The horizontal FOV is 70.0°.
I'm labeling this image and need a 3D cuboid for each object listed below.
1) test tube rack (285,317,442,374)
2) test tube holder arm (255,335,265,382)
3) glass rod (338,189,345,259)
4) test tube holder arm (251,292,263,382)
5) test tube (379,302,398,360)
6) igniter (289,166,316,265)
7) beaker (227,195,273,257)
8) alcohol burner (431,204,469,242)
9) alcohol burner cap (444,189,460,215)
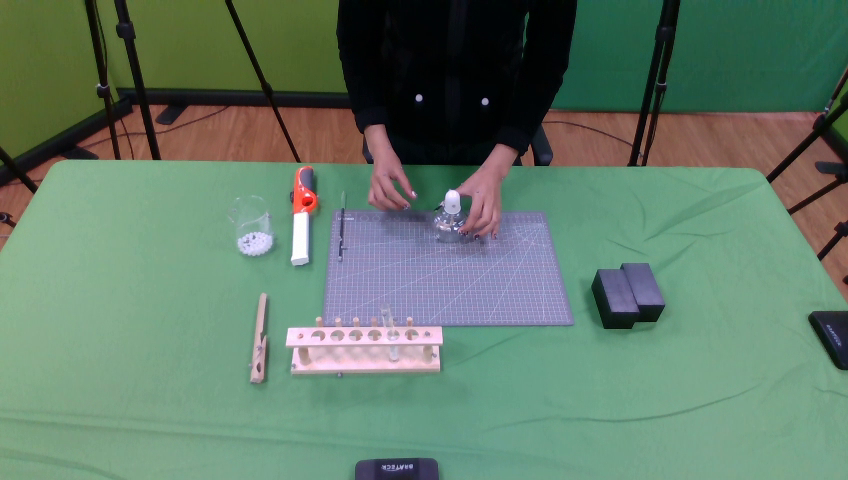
[{"bbox_3d":[-0.095,0.166,0.988,0.242,0.085,0.066,0,46,-4],"label":"test tube rack"},{"bbox_3d":[-0.270,0.193,0.997,0.010,0.015,0.087,24,36,-33],"label":"test tube holder arm"},{"bbox_3d":[-0.166,-0.036,1.227,0.008,0.008,0.198,-1,46,-4],"label":"glass rod"},{"bbox_3d":[-0.282,0.159,1.025,0.013,0.015,0.177,23,36,-33],"label":"test tube holder arm"},{"bbox_3d":[-0.054,0.145,0.943,0.017,0.151,0.017,-2,49,3],"label":"test tube"},{"bbox_3d":[-0.248,-0.058,1.233,0.057,0.025,0.274,-9,47,1],"label":"igniter"},{"bbox_3d":[-0.326,-0.022,1.142,0.074,0.101,0.083,10,47,6],"label":"beaker"},{"bbox_3d":[0.053,-0.052,1.184,0.078,0.119,0.077,3,50,-3],"label":"alcohol burner"},{"bbox_3d":[0.053,-0.076,1.156,0.034,0.048,0.033,-1,51,2],"label":"alcohol burner cap"}]
